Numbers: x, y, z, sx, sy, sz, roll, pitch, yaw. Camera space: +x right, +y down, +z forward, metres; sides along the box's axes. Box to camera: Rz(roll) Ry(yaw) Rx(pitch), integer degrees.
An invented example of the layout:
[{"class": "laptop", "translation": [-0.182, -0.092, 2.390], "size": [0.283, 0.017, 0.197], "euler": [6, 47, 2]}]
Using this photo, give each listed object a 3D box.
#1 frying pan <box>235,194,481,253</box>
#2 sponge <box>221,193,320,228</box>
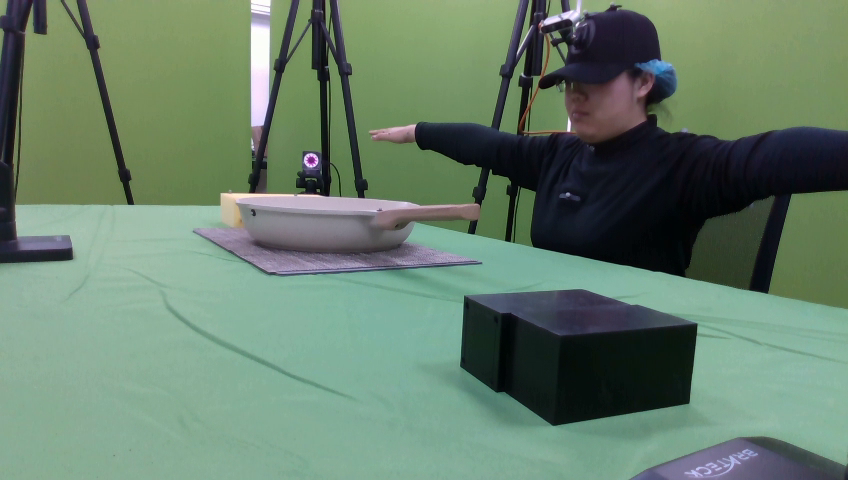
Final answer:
[{"class": "frying pan", "translation": [-0.089, -0.034, 0.891], "size": [0.308, 0.102, 0.485], "euler": [-4, 2, -36]}, {"class": "sponge", "translation": [-0.297, -0.062, 1.235], "size": [0.208, 0.061, 0.117], "euler": [-2, 9, -31]}]
